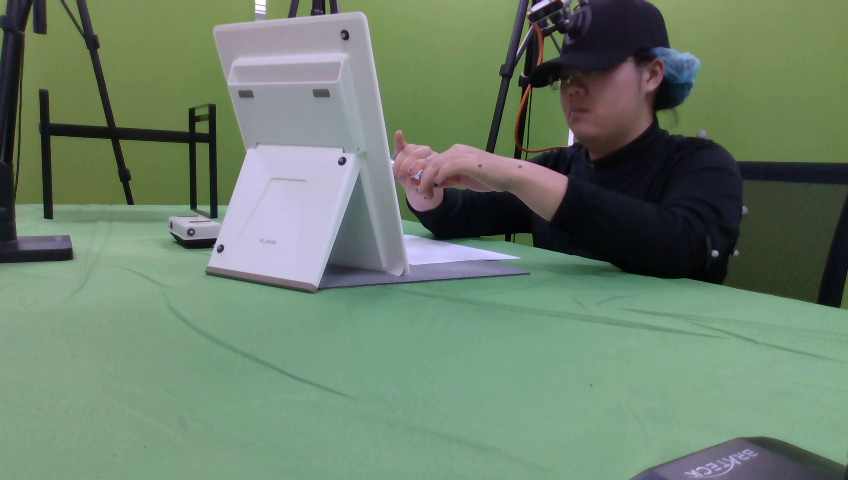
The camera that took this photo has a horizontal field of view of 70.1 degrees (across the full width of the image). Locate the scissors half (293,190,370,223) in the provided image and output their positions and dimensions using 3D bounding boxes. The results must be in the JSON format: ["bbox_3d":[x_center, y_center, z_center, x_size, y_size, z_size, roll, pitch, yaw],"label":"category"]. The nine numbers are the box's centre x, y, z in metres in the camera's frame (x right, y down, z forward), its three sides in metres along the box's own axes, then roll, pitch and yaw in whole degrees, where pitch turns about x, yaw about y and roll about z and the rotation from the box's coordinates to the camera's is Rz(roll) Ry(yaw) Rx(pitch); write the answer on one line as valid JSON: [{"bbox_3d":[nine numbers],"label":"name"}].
[{"bbox_3d":[-0.205,-0.077,1.338,0.175,0.040,0.013,22,12,-8],"label":"scissors half"}]

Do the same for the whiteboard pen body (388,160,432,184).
[{"bbox_3d":[-0.033,-0.102,0.895,0.017,0.017,0.140,-4,22,-41],"label":"whiteboard pen body"}]

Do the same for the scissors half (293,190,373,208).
[{"bbox_3d":[-0.201,-0.096,1.332,0.175,0.040,0.013,5,19,-4],"label":"scissors half"}]

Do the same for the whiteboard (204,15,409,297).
[{"bbox_3d":[-0.166,-0.072,0.669,0.216,0.305,0.144,8,30,30],"label":"whiteboard"}]

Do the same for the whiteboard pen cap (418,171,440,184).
[{"bbox_3d":[0.006,-0.087,0.853,0.018,0.018,0.033,-4,1,-42],"label":"whiteboard pen cap"}]

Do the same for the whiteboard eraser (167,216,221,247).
[{"bbox_3d":[-0.350,-0.013,0.920,0.056,0.042,0.112,0,7,-35],"label":"whiteboard eraser"}]
